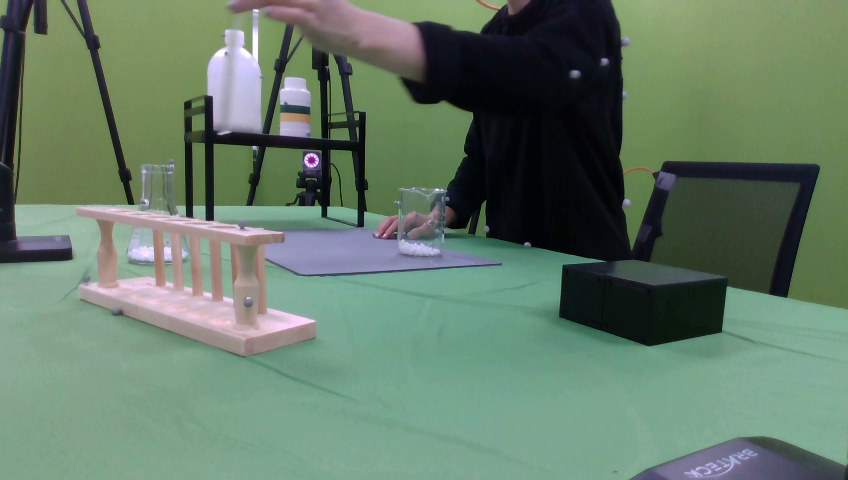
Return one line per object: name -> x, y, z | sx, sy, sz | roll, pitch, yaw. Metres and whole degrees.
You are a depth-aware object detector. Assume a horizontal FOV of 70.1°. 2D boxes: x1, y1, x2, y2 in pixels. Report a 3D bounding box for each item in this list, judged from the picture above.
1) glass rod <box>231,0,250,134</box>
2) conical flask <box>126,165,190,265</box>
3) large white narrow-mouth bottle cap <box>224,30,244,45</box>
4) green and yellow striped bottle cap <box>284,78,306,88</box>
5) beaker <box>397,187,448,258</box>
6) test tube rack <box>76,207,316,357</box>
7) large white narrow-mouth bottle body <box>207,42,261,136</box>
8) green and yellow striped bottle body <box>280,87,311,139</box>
glass rod -> -0.166, -0.198, 0.560 | 0.008, 0.199, 0.008 | 7, 4, 0
conical flask -> -0.332, -0.033, 0.756 | 0.075, 0.122, 0.075 | 2, 7, 0
large white narrow-mouth bottle cap -> -0.365, -0.389, 1.165 | 0.038, 0.024, 0.037 | 3, 9, 0
green and yellow striped bottle cap -> -0.268, -0.325, 1.259 | 0.045, 0.020, 0.045 | 5, 7, 0
beaker -> -0.002, -0.026, 0.890 | 0.074, 0.100, 0.084 | 0, 8, -11
test tube rack -> -0.196, 0.023, 0.500 | 0.241, 0.085, 0.067 | 8, 9, 36
large white narrow-mouth bottle body -> -0.369, -0.303, 1.180 | 0.102, 0.194, 0.102 | 3, 9, 0
green and yellow striped bottle body -> -0.269, -0.274, 1.266 | 0.063, 0.119, 0.063 | 3, 7, 0
